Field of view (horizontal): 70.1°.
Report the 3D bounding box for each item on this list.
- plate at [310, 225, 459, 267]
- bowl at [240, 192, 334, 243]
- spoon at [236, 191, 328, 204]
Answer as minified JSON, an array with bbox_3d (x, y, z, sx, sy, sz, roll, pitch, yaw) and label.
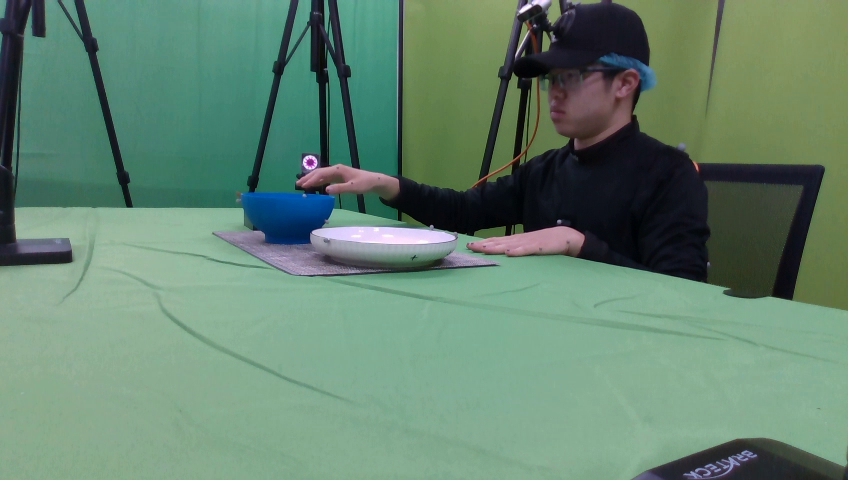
[{"bbox_3d":[-0.055,0.008,0.851,0.208,0.039,0.207,2,7,0],"label":"plate"},{"bbox_3d":[-0.223,-0.037,0.992,0.151,0.077,0.151,2,7,0],"label":"bowl"},{"bbox_3d":[-0.282,-0.085,1.222,0.195,0.021,0.041,-1,7,-34],"label":"spoon"}]
